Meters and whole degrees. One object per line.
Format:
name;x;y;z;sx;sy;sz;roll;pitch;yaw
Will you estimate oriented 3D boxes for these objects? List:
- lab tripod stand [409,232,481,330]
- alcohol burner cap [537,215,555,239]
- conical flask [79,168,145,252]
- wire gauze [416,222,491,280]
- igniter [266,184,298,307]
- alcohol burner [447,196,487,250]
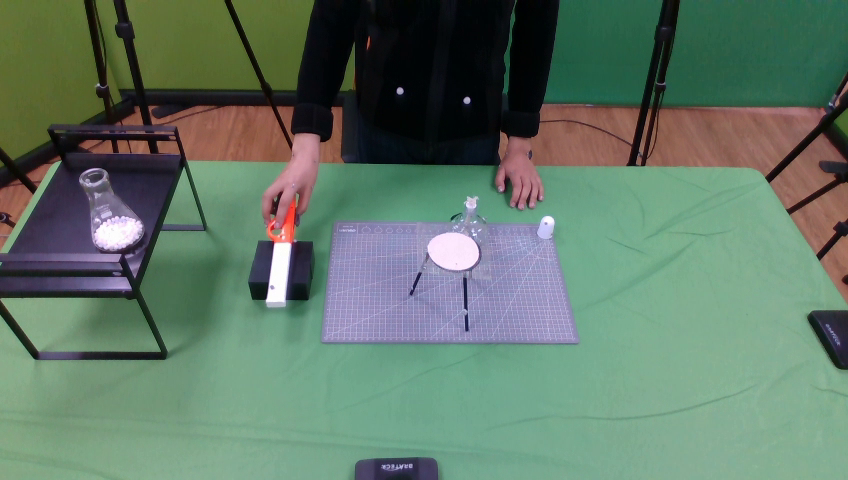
lab tripod stand;0.051;0.064;1.059;0.148;0.132;0.147;3;47;-3
alcohol burner cap;0.249;-0.029;1.228;0.034;0.048;0.033;1;48;-1
conical flask;-0.463;-0.048;0.888;0.075;0.122;0.075;2;46;-2
wire gauze;0.048;0.014;1.013;0.125;0.011;0.120;3;47;-3
igniter;-0.259;0.000;1.097;0.057;0.025;0.274;-2;52;-5
alcohol burner;0.085;-0.039;1.175;0.078;0.119;0.077;3;45;-3
